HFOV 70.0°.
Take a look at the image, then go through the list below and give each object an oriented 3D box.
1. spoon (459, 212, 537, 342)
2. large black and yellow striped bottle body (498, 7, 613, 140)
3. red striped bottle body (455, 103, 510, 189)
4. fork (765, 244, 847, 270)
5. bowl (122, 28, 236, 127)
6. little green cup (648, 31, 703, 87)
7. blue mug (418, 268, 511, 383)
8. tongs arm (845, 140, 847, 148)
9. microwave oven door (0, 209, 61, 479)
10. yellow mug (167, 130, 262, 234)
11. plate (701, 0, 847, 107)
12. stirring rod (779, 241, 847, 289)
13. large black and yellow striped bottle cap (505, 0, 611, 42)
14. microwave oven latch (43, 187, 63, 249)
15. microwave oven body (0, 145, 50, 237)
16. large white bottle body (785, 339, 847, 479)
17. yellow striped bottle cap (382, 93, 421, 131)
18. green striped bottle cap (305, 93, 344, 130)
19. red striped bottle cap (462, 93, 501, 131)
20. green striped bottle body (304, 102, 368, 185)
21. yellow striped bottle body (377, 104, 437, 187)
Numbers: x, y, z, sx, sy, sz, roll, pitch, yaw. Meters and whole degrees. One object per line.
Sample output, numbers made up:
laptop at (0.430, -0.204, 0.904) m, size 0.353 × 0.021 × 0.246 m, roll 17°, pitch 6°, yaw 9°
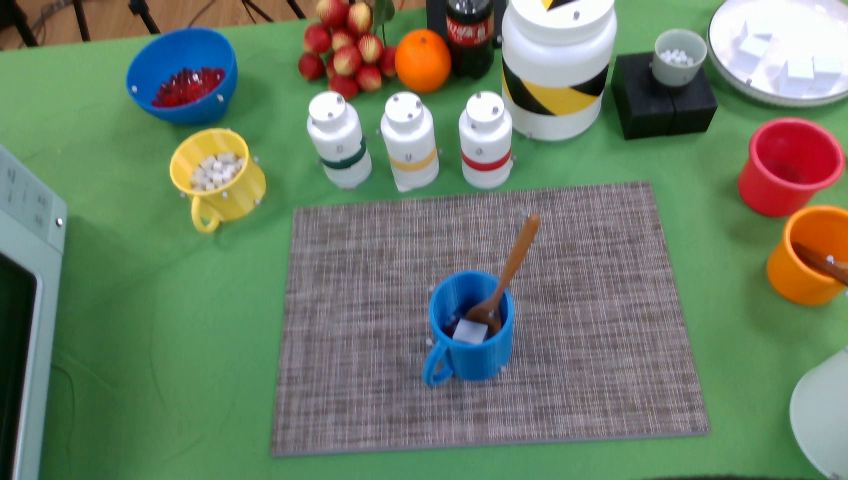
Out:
spoon at (0.072, 0.042, 0.582) m, size 0.041 × 0.195 × 0.021 m, roll 29°, pitch 51°, yaw 9°
large black and yellow striped bottle body at (0.156, -0.226, 0.742) m, size 0.130 × 0.185 × 0.129 m, roll -3°, pitch 61°, yaw 5°
red striped bottle body at (0.072, -0.120, 0.730) m, size 0.063 × 0.121 × 0.062 m, roll -4°, pitch 60°, yaw 7°
fork at (0.434, 0.029, 0.593) m, size 0.028 × 0.019 × 0.206 m, roll -35°, pitch 19°, yaw -15°
bowl at (-0.327, -0.213, 0.847) m, size 0.151 × 0.077 × 0.150 m, roll -2°, pitch 62°, yaw 4°
little green cup at (0.308, -0.222, 0.748) m, size 0.061 × 0.039 × 0.061 m, roll -2°, pitch 60°, yaw 4°
blue mug at (0.036, 0.100, 0.620) m, size 0.081 × 0.107 × 0.116 m, roll 37°, pitch 71°, yaw 23°
tongs arm at (0.582, 0.033, 0.640) m, size 0.051 × 0.027 × 0.381 m, roll -14°, pitch 62°, yaw -5°
microwave oven door at (-0.449, 0.113, 0.571) m, size 0.039 × 0.246 × 0.352 m, roll -13°, pitch 61°, yaw 0°
yellow mug at (-0.269, -0.069, 0.770) m, size 0.100 × 0.064 × 0.130 m, roll 5°, pitch 63°, yaw 8°
plate at (0.475, -0.255, 0.806) m, size 0.209 × 0.038 × 0.207 m, roll -2°, pitch 62°, yaw 5°
stirring rod at (0.405, 0.031, 0.604) m, size 0.014 × 0.006 × 0.175 m, roll -1°, pitch 18°, yaw 2°
large black and yellow striped bottle cap at (0.147, -0.265, 0.668) m, size 0.115 × 0.019 × 0.114 m, roll -3°, pitch 60°, yaw 6°
microwave oven latch at (-0.478, -0.026, 0.765) m, size 0.030 × 0.030 × 0.078 m, roll -11°, pitch 62°, yaw -1°
microwave oven body at (-0.599, 0.110, 0.594) m, size 0.326 × 0.262 × 0.437 m, roll -12°, pitch 62°, yaw -1°
large white bottle body at (0.412, 0.137, 0.516) m, size 0.130 × 0.186 × 0.129 m, roll -3°, pitch 61°, yaw 5°
yellow striped bottle cap at (-0.026, -0.148, 0.697) m, size 0.044 × 0.019 × 0.044 m, roll -2°, pitch 63°, yaw 5°
green striped bottle cap at (-0.116, -0.150, 0.707) m, size 0.044 × 0.020 × 0.044 m, roll -2°, pitch 61°, yaw 3°
red striped bottle cap at (0.065, -0.146, 0.685) m, size 0.044 × 0.018 × 0.044 m, roll -1°, pitch 60°, yaw 2°
green striped bottle body at (-0.110, -0.125, 0.753) m, size 0.063 × 0.120 × 0.062 m, roll -2°, pitch 61°, yaw 5°
yellow striped bottle body at (-0.021, -0.123, 0.742) m, size 0.063 × 0.121 × 0.062 m, roll -3°, pitch 61°, yaw 6°
